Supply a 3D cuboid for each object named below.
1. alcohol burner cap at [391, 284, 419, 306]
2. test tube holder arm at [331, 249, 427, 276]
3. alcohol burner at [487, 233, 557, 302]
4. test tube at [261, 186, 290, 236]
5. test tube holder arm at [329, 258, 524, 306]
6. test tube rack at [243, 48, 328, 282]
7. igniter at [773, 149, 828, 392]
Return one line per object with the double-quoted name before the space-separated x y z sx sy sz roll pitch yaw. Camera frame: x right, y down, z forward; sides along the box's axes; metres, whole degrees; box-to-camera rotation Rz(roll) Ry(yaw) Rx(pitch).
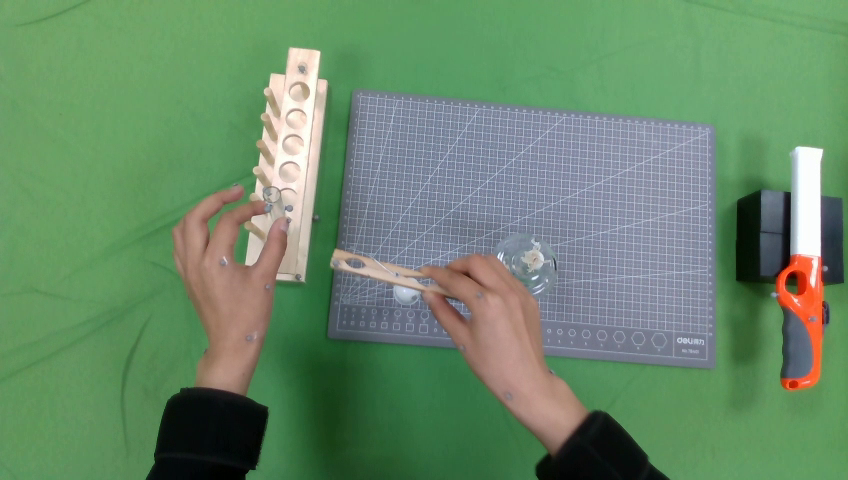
"alcohol burner cap" -0.020 0.055 0.675 0.034 0.048 0.033 1 79 -4
"test tube holder arm" -0.041 0.024 0.549 0.088 0.015 0.010 14 69 -2
"alcohol burner" 0.109 0.028 0.653 0.078 0.119 0.077 0 81 -3
"test tube" -0.140 -0.023 0.583 0.017 0.150 0.017 2 77 -8
"test tube holder arm" 0.002 0.039 0.548 0.178 0.015 0.013 12 70 -2
"test tube rack" -0.157 -0.081 0.668 0.067 0.085 0.241 6 80 -3
"igniter" 0.421 0.031 0.676 0.057 0.025 0.275 8 79 3
